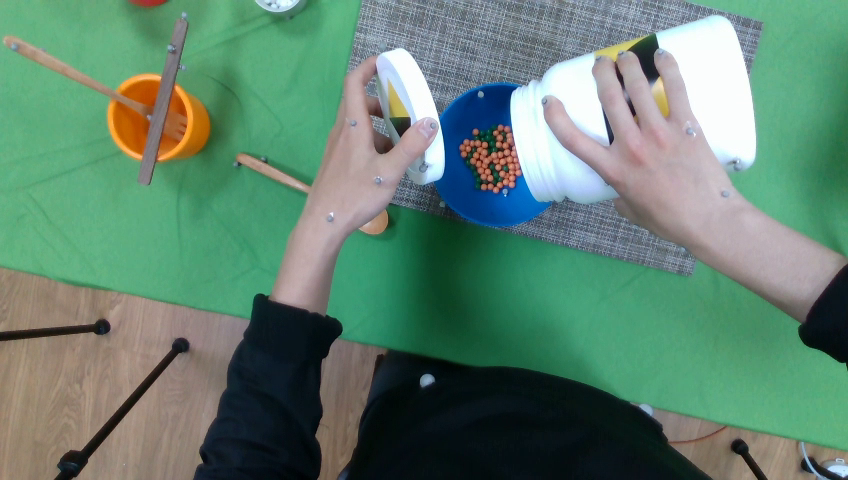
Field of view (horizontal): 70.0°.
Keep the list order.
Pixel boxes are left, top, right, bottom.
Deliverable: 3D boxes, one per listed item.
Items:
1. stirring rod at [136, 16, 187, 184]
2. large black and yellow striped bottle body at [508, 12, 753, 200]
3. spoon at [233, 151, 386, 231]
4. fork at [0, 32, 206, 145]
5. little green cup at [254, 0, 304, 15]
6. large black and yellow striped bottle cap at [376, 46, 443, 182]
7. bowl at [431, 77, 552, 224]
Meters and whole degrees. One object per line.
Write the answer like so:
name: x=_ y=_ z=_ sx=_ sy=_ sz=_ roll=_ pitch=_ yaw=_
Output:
stirring rod: x=-0.272 y=-0.144 z=0.627 sx=0.014 sy=0.006 sz=0.176 roll=16 pitch=96 yaw=-4
large black and yellow striped bottle body: x=0.178 y=-0.109 z=0.536 sx=0.183 sy=0.131 sz=0.131 roll=-12 pitch=96 yaw=22
spoon: x=-0.133 y=-0.062 z=0.703 sx=0.194 sy=0.021 sz=0.042 roll=24 pitch=109 yaw=-3
fork: x=-0.323 y=-0.153 z=0.629 sx=0.209 sy=0.018 sz=0.028 roll=28 pitch=100 yaw=-46
little green cup: x=-0.161 y=-0.280 z=0.670 sx=0.061 sy=0.038 sz=0.061 roll=0 pitch=96 yaw=1
large black and yellow striped bottle cap: x=-0.014 y=-0.106 z=0.520 sx=0.019 sy=0.114 sz=0.115 roll=-20 pitch=96 yaw=-14
bowl: x=0.077 y=-0.095 z=0.668 sx=0.151 sy=0.076 sz=0.151 roll=0 pitch=97 yaw=0
